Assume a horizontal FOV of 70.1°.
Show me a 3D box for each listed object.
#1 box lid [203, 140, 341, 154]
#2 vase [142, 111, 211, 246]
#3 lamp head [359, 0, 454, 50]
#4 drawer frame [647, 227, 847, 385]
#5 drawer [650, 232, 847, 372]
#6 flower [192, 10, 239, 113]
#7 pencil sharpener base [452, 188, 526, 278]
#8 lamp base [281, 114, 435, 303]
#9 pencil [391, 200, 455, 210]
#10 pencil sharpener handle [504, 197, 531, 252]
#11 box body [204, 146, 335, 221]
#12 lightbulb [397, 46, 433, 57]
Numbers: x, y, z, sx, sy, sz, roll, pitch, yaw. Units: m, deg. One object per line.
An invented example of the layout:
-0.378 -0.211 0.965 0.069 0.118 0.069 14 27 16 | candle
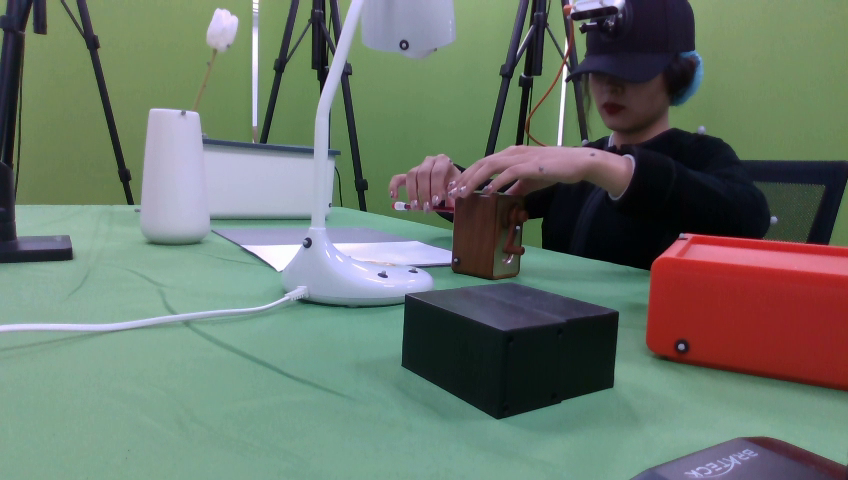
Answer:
-0.396 -0.213 1.373 0.373 0.015 0.262 -1 9 -29 | box lid
-0.378 -0.093 0.920 0.098 0.200 0.098 2 9 0 | vase
-0.024 -0.283 0.674 0.112 0.123 0.112 -3 38 3 | lamp head
0.303 0.043 0.495 0.201 0.082 0.214 6 9 26 | drawer frame
0.303 0.044 0.499 0.194 0.073 0.212 6 9 27 | drawer
-0.354 -0.174 0.915 0.038 0.361 0.044 18 -3 12 | flower
0.084 -0.011 0.764 0.076 0.107 0.062 9 10 43 | pencil sharpener base
-0.071 -0.035 0.614 0.160 0.180 0.180 5 10 27 | lamp base
0.023 -0.045 0.820 0.193 0.012 0.012 6 8 43 | pencil
0.117 -0.018 0.723 0.030 0.067 0.036 9 -14 43 | pencil sharpener handle
-0.411 -0.135 1.386 0.366 0.160 0.253 -2 9 -29 | box body
-0.017 -0.265 0.692 0.059 0.108 0.059 -10 28 5 | lightbulb
